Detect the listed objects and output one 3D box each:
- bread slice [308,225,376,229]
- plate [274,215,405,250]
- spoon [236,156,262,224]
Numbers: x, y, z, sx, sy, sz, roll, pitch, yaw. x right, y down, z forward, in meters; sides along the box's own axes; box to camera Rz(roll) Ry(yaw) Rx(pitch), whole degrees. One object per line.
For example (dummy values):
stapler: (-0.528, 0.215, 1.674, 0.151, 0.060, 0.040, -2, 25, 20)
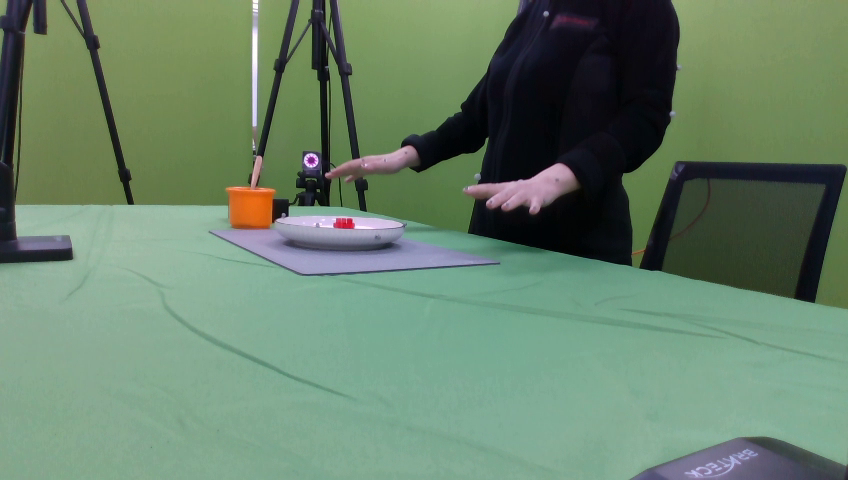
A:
bread slice: (-0.133, -0.011, 0.974, 0.135, 0.018, 0.106, -3, 8, -33)
plate: (-0.136, -0.013, 0.981, 0.209, 0.038, 0.209, 2, 7, 0)
spoon: (-0.338, -0.102, 1.197, 0.042, 0.193, 0.021, 1, -37, -4)
